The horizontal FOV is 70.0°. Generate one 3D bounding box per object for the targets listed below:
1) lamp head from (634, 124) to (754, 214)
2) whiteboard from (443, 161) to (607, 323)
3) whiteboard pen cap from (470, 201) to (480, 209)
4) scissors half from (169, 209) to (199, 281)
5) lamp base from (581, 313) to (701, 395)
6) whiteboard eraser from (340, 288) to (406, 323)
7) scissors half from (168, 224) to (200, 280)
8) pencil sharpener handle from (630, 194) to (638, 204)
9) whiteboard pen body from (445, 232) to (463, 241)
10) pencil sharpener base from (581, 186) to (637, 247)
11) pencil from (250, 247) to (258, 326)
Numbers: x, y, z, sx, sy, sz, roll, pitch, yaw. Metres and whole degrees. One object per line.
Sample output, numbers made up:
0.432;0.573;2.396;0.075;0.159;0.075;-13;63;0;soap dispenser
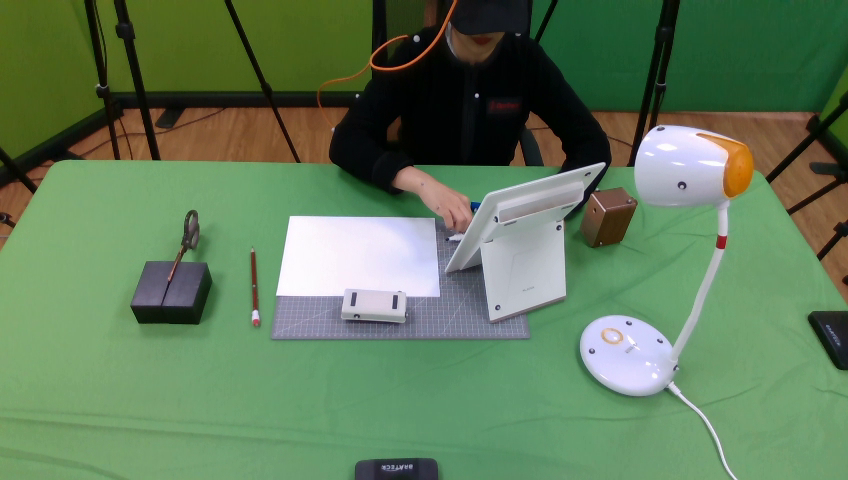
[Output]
0.351;-0.089;0.776;0.112;0.113;0.122;-30;30;-28;lamp head
0.185;0.025;1.029;0.217;0.306;0.143;-15;68;-18;whiteboard
0.113;-0.073;1.280;0.033;0.018;0.018;4;46;6;whiteboard pen cap
-0.438;0.007;1.098;0.013;0.040;0.174;3;48;-3;scissors half
0.361;0.144;0.973;0.178;0.181;0.160;34;53;23;lamp base
-0.088;0.117;1.060;0.113;0.042;0.055;3;45;-1;whiteboard eraser
-0.440;0.023;1.111;0.013;0.040;0.174;7;29;-6;scissors half
0.417;-0.068;1.215;0.031;0.068;0.036;-11;60;-14;pencil sharpener handle
0.105;-0.015;1.212;0.141;0.017;0.017;-14;49;-22;whiteboard pen body
0.369;-0.047;1.209;0.077;0.107;0.061;-11;47;-15;pencil sharpener base
-0.312;0.079;1.107;0.012;0.012;0.192;-7;46;-11;pencil
